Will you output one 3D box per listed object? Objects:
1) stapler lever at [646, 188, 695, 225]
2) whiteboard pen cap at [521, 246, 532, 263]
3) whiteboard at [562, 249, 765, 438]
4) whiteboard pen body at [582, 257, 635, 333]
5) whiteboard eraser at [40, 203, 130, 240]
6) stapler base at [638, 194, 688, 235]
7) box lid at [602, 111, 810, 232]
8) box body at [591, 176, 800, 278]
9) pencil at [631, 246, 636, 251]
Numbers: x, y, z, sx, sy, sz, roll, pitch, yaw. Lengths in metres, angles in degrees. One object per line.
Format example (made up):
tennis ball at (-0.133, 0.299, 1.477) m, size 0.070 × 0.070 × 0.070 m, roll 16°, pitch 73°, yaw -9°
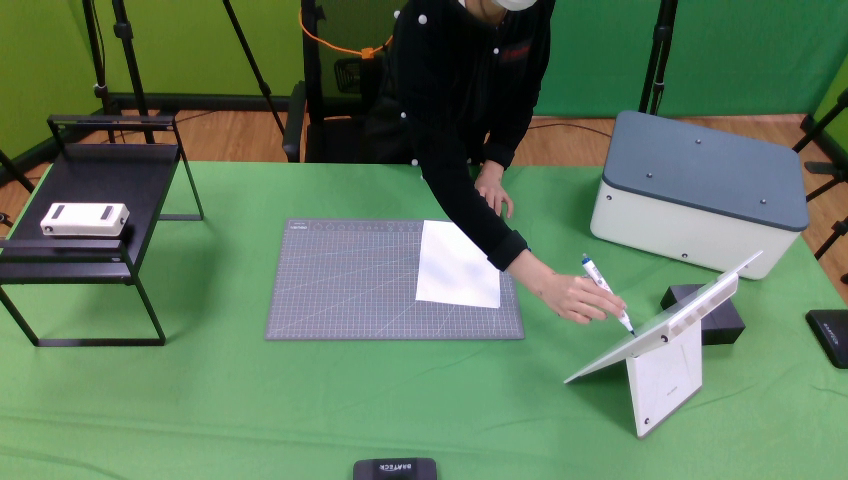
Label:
stapler lever at (0.515, -0.078, 1.265) m, size 0.027 × 0.040 × 0.117 m, roll -1°, pitch 41°, yaw -30°
whiteboard pen cap at (0.200, 0.029, 1.188) m, size 0.018 × 0.018 × 0.033 m, roll 15°, pitch 48°, yaw 10°
whiteboard at (0.386, 0.176, 0.905) m, size 0.217 × 0.306 × 0.143 m, roll -26°, pitch 72°, yaw -26°
whiteboard pen body at (0.292, 0.088, 0.953) m, size 0.017 × 0.017 × 0.140 m, roll -32°, pitch 88°, yaw -29°
whiteboard eraser at (-0.513, -0.028, 0.922) m, size 0.113 × 0.042 × 0.055 m, roll 1°, pitch 48°, yaw -3°
stapler base at (0.509, -0.059, 1.278) m, size 0.041 × 0.024 × 0.129 m, roll -1°, pitch 40°, yaw -30°
box lid at (0.545, -0.143, 1.176) m, size 0.371 × 0.015 × 0.262 m, roll 15°, pitch 47°, yaw 11°
box body at (0.540, -0.092, 1.229) m, size 0.363 × 0.161 × 0.253 m, roll 16°, pitch 47°, yaw 11°
pencil at (0.431, -0.060, 1.284) m, size 0.012 × 0.012 × 0.193 m, roll 3°, pitch 57°, yaw -1°
